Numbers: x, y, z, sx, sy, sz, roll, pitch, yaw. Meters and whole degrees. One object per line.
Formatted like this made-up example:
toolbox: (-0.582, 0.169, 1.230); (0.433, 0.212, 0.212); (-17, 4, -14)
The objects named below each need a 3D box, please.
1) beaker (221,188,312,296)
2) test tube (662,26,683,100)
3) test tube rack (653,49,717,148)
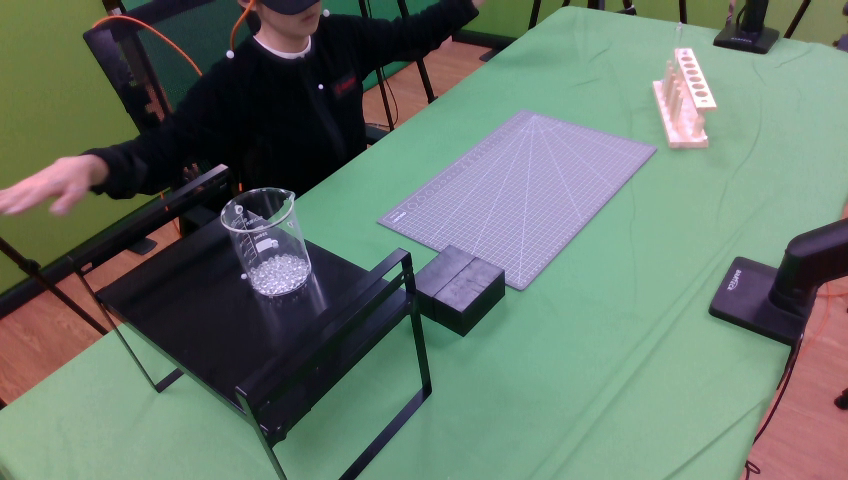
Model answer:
beaker: (-0.165, 0.003, 0.659); (0.073, 0.101, 0.084); (28, 52, 34)
test tube: (0.485, -0.343, 1.182); (0.017, 0.151, 0.017); (-3, 41, 3)
test tube rack: (0.502, -0.281, 1.177); (0.066, 0.085, 0.241); (1, 41, 10)
